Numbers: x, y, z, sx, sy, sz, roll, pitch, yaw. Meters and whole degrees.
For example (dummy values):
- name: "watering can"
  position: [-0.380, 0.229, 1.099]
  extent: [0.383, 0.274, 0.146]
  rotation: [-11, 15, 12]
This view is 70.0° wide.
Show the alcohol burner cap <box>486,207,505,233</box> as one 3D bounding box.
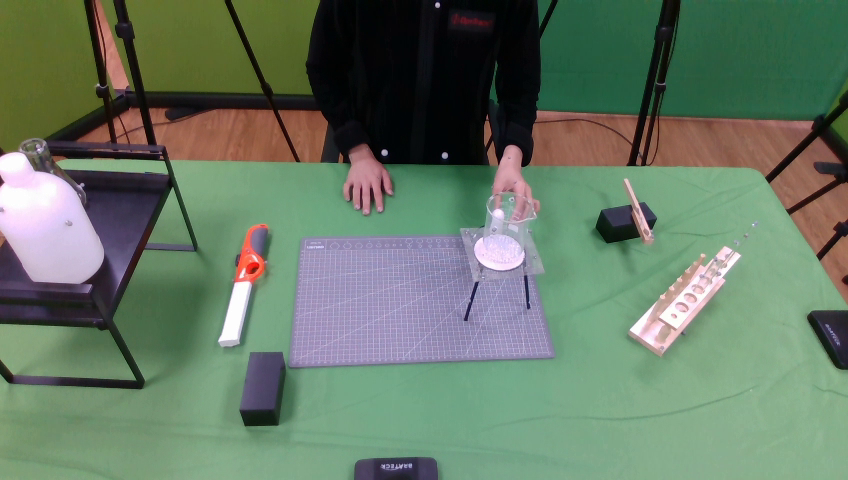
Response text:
- name: "alcohol burner cap"
  position: [0.135, -0.040, 1.125]
  extent: [0.034, 0.048, 0.033]
  rotation: [4, 43, -4]

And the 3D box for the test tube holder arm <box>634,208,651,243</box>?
- name: "test tube holder arm"
  position: [0.428, -0.030, 1.189]
  extent: [0.010, 0.015, 0.087]
  rotation: [1, 47, -2]

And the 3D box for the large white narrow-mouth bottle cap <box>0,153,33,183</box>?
- name: "large white narrow-mouth bottle cap"
  position: [-0.510, -0.090, 0.754]
  extent: [0.038, 0.024, 0.037]
  rotation: [2, 46, -2]

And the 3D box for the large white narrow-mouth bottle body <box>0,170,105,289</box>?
- name: "large white narrow-mouth bottle body"
  position: [-0.513, -0.029, 0.818]
  extent: [0.102, 0.195, 0.101]
  rotation: [2, 46, -2]

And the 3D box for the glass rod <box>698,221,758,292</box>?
- name: "glass rod"
  position: [0.527, 0.035, 1.059]
  extent: [0.008, 0.200, 0.008]
  rotation: [5, 49, -6]

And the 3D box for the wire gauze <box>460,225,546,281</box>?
- name: "wire gauze"
  position: [0.130, 0.017, 1.016]
  extent: [0.121, 0.011, 0.124]
  rotation: [-4, 43, -9]

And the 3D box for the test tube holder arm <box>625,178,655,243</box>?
- name: "test tube holder arm"
  position: [0.433, -0.063, 1.220]
  extent: [0.013, 0.015, 0.177]
  rotation: [1, 47, -3]

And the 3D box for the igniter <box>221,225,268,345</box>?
- name: "igniter"
  position: [-0.323, 0.072, 1.100]
  extent: [0.057, 0.025, 0.274]
  rotation: [-6, 45, 5]

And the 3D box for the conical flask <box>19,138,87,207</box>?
- name: "conical flask"
  position: [-0.576, -0.097, 0.930]
  extent: [0.075, 0.122, 0.075]
  rotation: [2, 46, -2]

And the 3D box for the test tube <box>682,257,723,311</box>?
- name: "test tube"
  position: [0.475, 0.080, 1.037]
  extent: [0.017, 0.151, 0.017]
  rotation: [1, 50, -1]

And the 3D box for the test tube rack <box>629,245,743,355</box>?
- name: "test tube rack"
  position: [0.474, 0.095, 1.091]
  extent: [0.242, 0.085, 0.066]
  rotation: [-34, 56, -31]

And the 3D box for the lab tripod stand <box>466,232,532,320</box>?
- name: "lab tripod stand"
  position: [0.125, 0.059, 1.065]
  extent: [0.148, 0.132, 0.147]
  rotation: [1, 45, 0]

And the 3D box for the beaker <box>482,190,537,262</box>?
- name: "beaker"
  position: [0.136, -0.019, 0.983]
  extent: [0.084, 0.101, 0.073]
  rotation: [17, 47, 14]

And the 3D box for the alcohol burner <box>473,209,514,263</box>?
- name: "alcohol burner"
  position: [0.134, -0.013, 1.150]
  extent: [0.078, 0.120, 0.077]
  rotation: [0, 47, 0]
